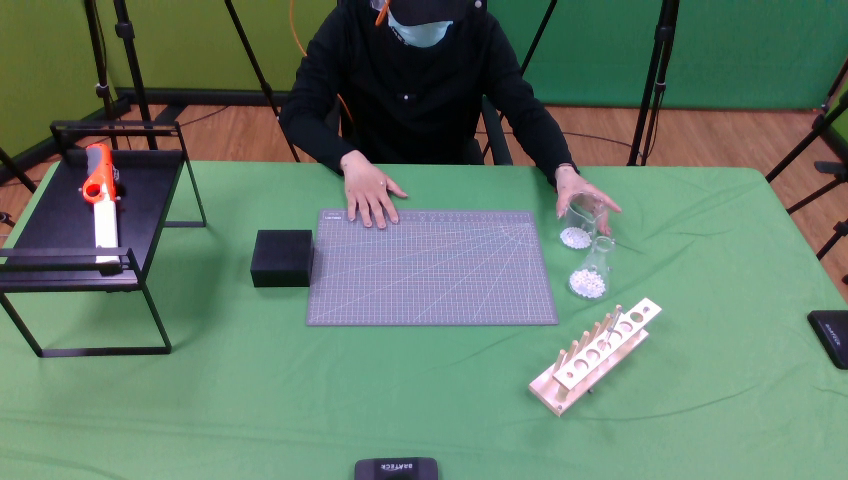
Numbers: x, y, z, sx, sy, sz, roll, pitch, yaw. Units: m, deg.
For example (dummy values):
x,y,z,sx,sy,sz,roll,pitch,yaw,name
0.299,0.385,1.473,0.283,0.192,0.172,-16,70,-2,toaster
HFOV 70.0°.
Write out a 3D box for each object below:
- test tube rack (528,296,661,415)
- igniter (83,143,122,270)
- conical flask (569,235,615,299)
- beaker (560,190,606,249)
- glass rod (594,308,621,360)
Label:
x,y,z,sx,sy,sz,roll,pitch,yaw,name
0.285,0.178,1.005,0.242,0.085,0.066,-31,55,-29,test tube rack
-0.508,-0.063,0.962,0.057,0.025,0.274,-14,53,-18,igniter
0.314,0.046,1.108,0.075,0.122,0.075,2,47,-2,conical flask
0.313,-0.036,1.202,0.074,0.101,0.083,-3,48,-5,beaker
0.278,0.156,0.934,0.008,0.201,0.008,-1,54,1,glass rod
